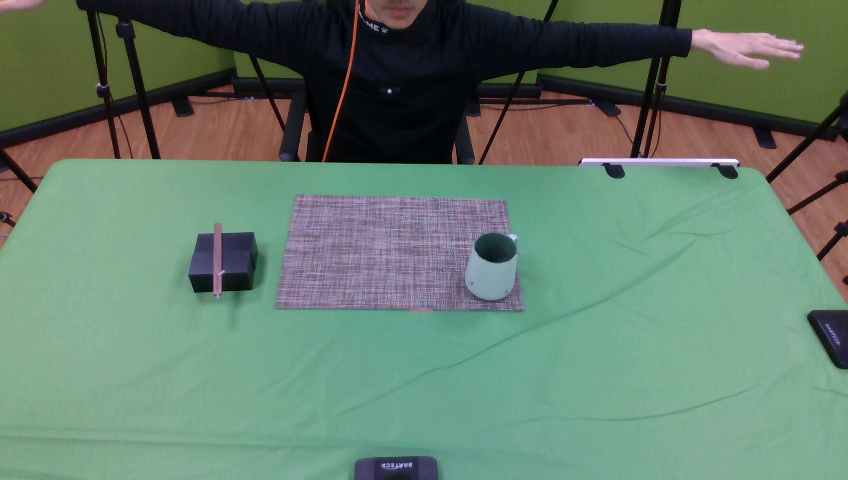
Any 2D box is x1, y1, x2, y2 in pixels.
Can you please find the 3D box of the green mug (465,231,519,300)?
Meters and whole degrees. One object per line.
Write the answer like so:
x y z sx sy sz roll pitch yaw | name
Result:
0.134 0.037 1.108 0.092 0.105 0.125 30 52 23 | green mug

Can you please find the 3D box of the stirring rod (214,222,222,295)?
-0.368 0.030 1.083 0.014 0.006 0.175 -10 48 -9 | stirring rod
